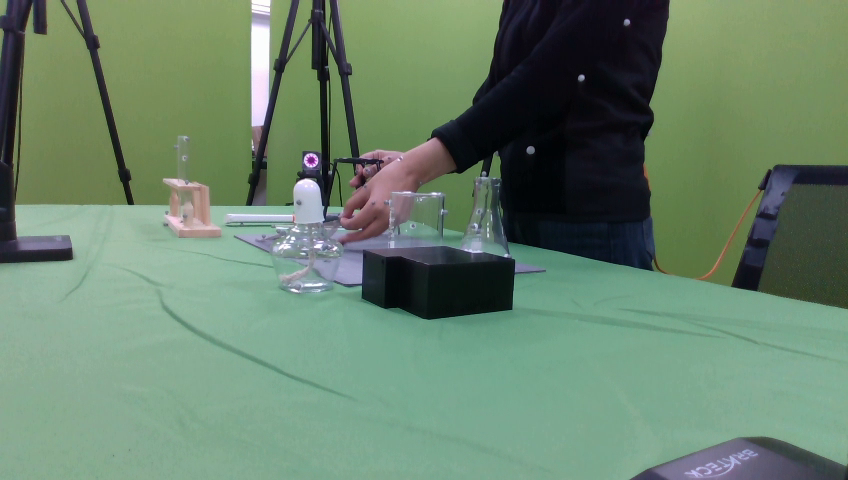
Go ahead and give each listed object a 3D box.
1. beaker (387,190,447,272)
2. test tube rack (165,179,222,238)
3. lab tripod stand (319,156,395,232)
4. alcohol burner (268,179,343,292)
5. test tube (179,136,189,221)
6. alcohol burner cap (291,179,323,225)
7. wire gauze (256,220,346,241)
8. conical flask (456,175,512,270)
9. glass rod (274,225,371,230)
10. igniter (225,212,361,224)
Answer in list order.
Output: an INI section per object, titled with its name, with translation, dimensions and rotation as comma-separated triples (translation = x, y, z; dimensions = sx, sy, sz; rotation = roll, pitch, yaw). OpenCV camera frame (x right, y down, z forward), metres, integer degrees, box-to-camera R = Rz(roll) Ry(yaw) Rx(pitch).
[beaker]
translation = -0.010, -0.013, 0.771
dimensions = 0.074, 0.100, 0.084
rotation = 3, 6, 4
[test tube rack]
translation = -0.423, -0.062, 1.098
dimensions = 0.067, 0.085, 0.241
rotation = -2, 9, -28
[lab tripod stand]
translation = -0.111, -0.079, 1.063
dimensions = 0.148, 0.131, 0.148
rotation = 2, 4, 0
[alcohol burner]
translation = -0.124, -0.005, 0.637
dimensions = 0.078, 0.119, 0.078
rotation = 4, 8, 0
[test tube]
translation = -0.425, -0.108, 1.070
dimensions = 0.017, 0.150, 0.017
rotation = 4, 9, 0
[alcohol burner cap]
translation = -0.124, -0.040, 0.632
dimensions = 0.034, 0.048, 0.034
rotation = -3, 10, 1
[wire gauze]
translation = -0.192, -0.011, 0.942
dimensions = 0.122, 0.011, 0.124
rotation = -9, -4, -25
[conical flask]
translation = 0.082, -0.025, 0.801
dimensions = 0.075, 0.122, 0.075
rotation = 2, 7, 0
[glass rod]
translation = -0.193, -0.024, 1.177
dimensions = 0.201, 0.008, 0.008
rotation = 1, 6, -31
[igniter]
translation = -0.262, -0.044, 1.240
dimensions = 0.278, 0.025, 0.057
rotation = -2, -1, -30
